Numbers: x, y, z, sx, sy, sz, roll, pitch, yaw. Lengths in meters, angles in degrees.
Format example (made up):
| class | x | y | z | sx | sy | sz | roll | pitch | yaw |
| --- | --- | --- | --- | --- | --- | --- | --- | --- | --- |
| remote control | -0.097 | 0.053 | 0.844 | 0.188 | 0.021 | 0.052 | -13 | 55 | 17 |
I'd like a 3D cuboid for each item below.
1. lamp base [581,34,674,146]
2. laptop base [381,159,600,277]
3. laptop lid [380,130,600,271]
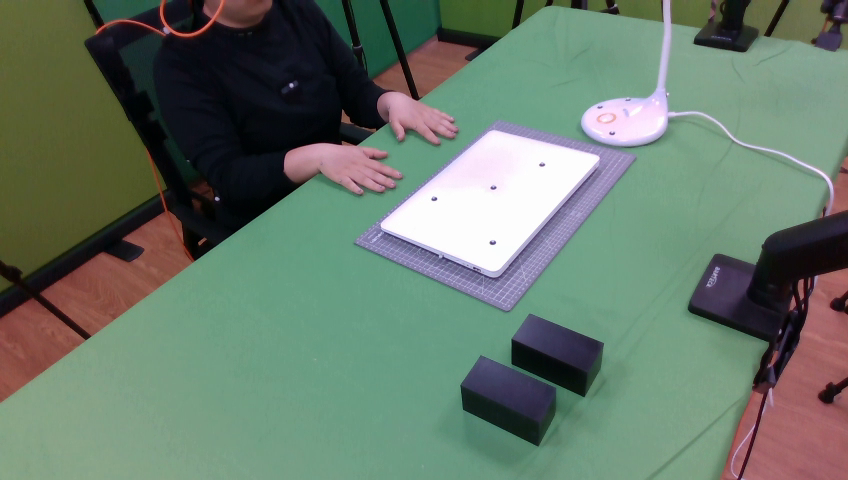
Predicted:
| class | x | y | z | sx | sy | sz | roll | pitch | yaw |
| --- | --- | --- | --- | --- | --- | --- | --- | --- | --- |
| lamp base | 0.392 | -0.291 | 1.129 | 0.180 | 0.181 | 0.159 | -11 | 41 | -8 |
| laptop base | 0.122 | -0.077 | 1.043 | 0.233 | 0.023 | 0.355 | 20 | 47 | 33 |
| laptop lid | 0.119 | -0.087 | 1.036 | 0.239 | 0.013 | 0.358 | 23 | 48 | 33 |
